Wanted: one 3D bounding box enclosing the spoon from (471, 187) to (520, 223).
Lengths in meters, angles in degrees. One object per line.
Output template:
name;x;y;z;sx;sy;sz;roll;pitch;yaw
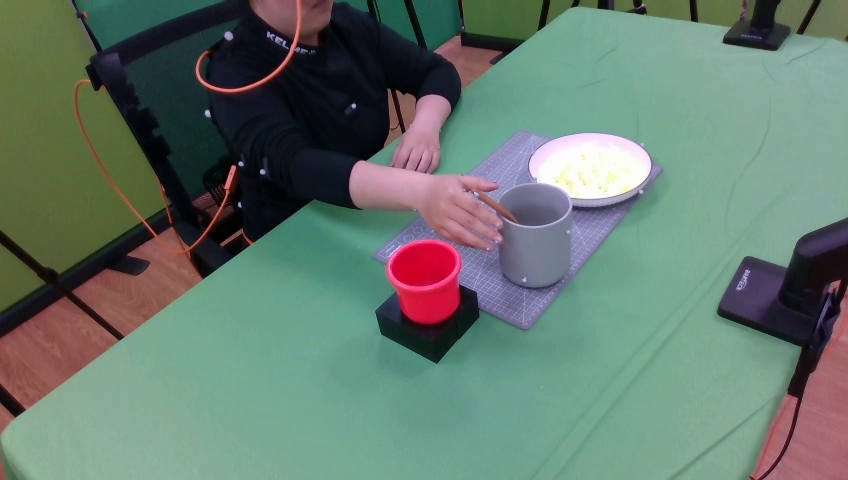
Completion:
spoon;0.122;-0.026;0.837;0.021;0.195;0.041;-32;47;19

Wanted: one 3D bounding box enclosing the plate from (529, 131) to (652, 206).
plate;0.287;-0.122;1.056;0.207;0.039;0.206;-5;40;5

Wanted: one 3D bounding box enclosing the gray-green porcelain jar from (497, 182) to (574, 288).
gray-green porcelain jar;0.161;-0.003;0.869;0.106;0.127;0.105;-5;40;5
